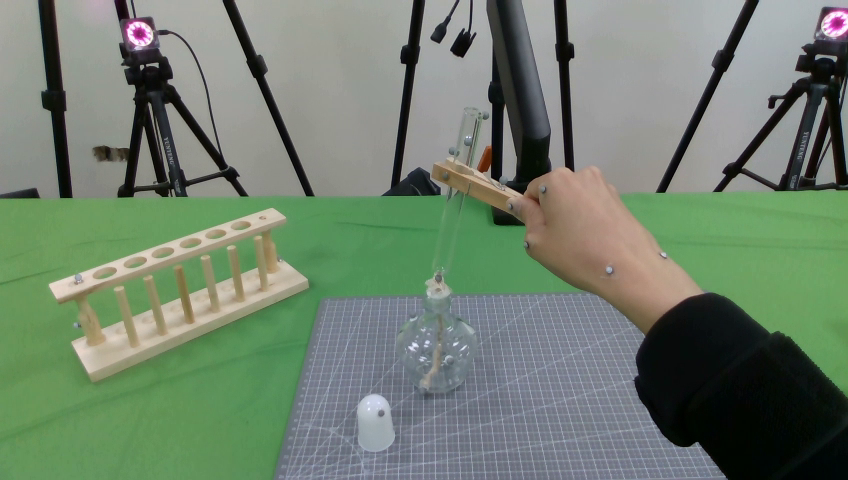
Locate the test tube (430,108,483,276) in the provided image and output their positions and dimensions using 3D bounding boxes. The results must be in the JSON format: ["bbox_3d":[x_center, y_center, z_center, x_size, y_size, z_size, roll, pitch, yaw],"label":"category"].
[{"bbox_3d":[0.024,-0.033,0.487,0.017,0.151,0.017,8,32,-5],"label":"test tube"}]

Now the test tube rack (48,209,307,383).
[{"bbox_3d":[-0.254,0.051,0.657,0.243,0.086,0.066,-24,37,-34],"label":"test tube rack"}]

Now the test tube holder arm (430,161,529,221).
[{"bbox_3d":[0.042,-0.038,0.462,0.087,0.015,0.010,28,36,25],"label":"test tube holder arm"}]

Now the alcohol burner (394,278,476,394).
[{"bbox_3d":[0.010,0.083,0.559,0.078,0.120,0.077,0,32,0],"label":"alcohol burner"}]

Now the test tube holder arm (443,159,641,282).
[{"bbox_3d":[0.079,-0.019,0.444,0.176,0.015,0.013,33,39,32],"label":"test tube holder arm"}]

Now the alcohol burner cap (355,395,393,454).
[{"bbox_3d":[-0.043,0.153,0.513,0.034,0.048,0.033,0,31,0],"label":"alcohol burner cap"}]
